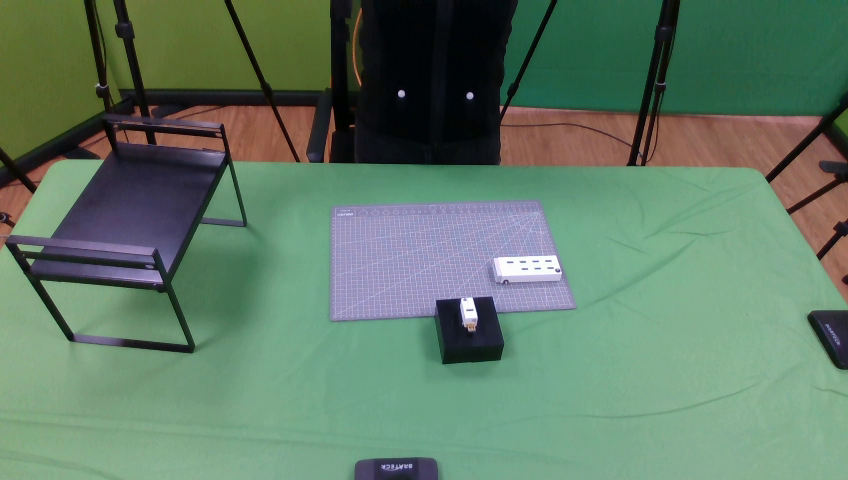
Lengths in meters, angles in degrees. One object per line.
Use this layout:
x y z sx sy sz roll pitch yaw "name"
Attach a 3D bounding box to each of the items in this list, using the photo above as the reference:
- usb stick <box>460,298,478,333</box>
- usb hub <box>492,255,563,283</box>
0.075 0.126 1.008 0.021 0.027 0.059 -1 49 -9 "usb stick"
0.196 0.056 1.151 0.125 0.025 0.049 -2 47 -5 "usb hub"
